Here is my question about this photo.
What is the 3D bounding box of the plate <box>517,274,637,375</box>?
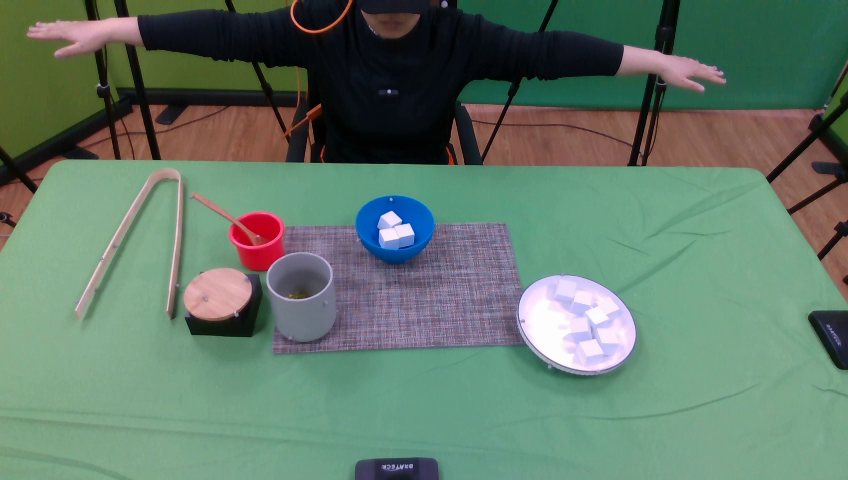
[{"bbox_3d":[0.264,0.149,1.060,0.209,0.038,0.208,3,46,-3],"label":"plate"}]

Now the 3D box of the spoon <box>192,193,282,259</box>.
[{"bbox_3d":[-0.342,-0.027,1.115,0.194,0.021,0.041,43,40,-24],"label":"spoon"}]

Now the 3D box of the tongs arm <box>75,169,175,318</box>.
[{"bbox_3d":[-0.559,-0.008,1.155,0.051,0.026,0.382,3,45,-2],"label":"tongs arm"}]

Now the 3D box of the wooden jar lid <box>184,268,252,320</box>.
[{"bbox_3d":[-0.343,0.092,1.015,0.108,0.021,0.107,3,46,-3],"label":"wooden jar lid"}]

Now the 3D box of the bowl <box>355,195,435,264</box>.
[{"bbox_3d":[-0.056,-0.008,1.158,0.151,0.077,0.150,2,46,-2],"label":"bowl"}]

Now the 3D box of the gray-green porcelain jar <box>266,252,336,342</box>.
[{"bbox_3d":[-0.202,0.100,1.009,0.106,0.127,0.105,2,46,-2],"label":"gray-green porcelain jar"}]

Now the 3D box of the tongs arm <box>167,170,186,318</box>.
[{"bbox_3d":[-0.479,-0.007,1.165,0.028,0.028,0.385,-9,47,-9],"label":"tongs arm"}]
